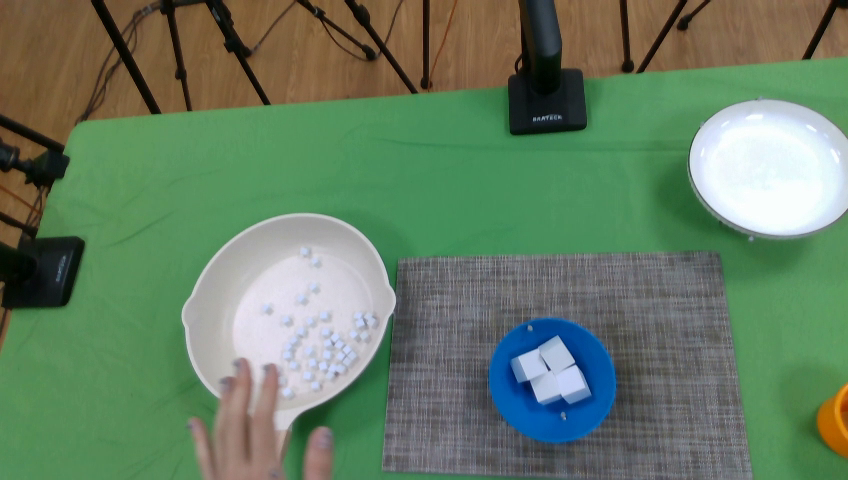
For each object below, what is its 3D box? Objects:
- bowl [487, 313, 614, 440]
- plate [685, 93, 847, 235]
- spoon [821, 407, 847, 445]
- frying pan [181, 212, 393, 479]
[{"bbox_3d":[0.156,0.177,0.758,0.151,0.077,0.150,-4,65,9],"label":"bowl"},{"bbox_3d":[0.453,-0.098,0.801,0.207,0.039,0.206,-4,67,9],"label":"plate"},{"bbox_3d":[0.532,0.184,0.653,0.022,0.194,0.041,8,59,-35],"label":"spoon"},{"bbox_3d":[-0.191,0.189,0.805,0.306,0.104,0.483,-3,57,10],"label":"frying pan"}]
